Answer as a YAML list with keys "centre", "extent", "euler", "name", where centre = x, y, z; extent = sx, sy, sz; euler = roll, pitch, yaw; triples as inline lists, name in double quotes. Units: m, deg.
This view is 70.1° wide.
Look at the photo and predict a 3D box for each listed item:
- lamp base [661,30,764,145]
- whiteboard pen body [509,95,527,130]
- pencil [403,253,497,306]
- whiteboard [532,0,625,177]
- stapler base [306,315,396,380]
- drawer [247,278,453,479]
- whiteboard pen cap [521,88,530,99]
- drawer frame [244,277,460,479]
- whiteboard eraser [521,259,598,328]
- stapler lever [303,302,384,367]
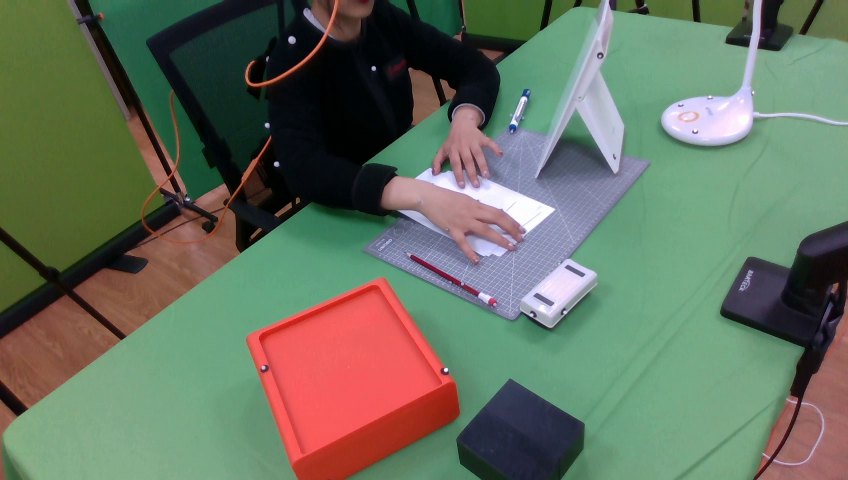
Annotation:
- centre: [0.535, -0.287, 1.096]
  extent: [0.179, 0.181, 0.159]
  euler: [-10, 40, -4]
  name: "lamp base"
- centre: [0.199, -0.273, 1.262]
  extent: [0.017, 0.017, 0.140]
  euler: [8, 44, 19]
  name: "whiteboard pen body"
- centre: [0.034, 0.056, 0.914]
  extent: [0.192, 0.012, 0.012]
  euler: [27, 52, 38]
  name: "pencil"
- centre: [0.321, -0.258, 1.050]
  extent: [0.144, 0.306, 0.217]
  euler: [21, 45, 5]
  name: "whiteboard"
- centre: [-0.101, 0.139, 0.819]
  extent: [0.131, 0.024, 0.041]
  euler: [-31, 37, -13]
  name: "stapler base"
- centre: [-0.096, 0.167, 0.758]
  extent: [0.195, 0.073, 0.210]
  euler: [-22, 43, -16]
  name: "drawer"
- centre: [0.218, -0.312, 1.301]
  extent: [0.018, 0.018, 0.033]
  euler: [6, 46, 17]
  name: "whiteboard pen cap"
- centre: [-0.093, 0.167, 0.755]
  extent: [0.202, 0.083, 0.211]
  euler: [-23, 43, -17]
  name: "drawer frame"
- centre: [0.189, 0.076, 0.843]
  extent: [0.055, 0.042, 0.113]
  euler: [29, 53, 37]
  name: "whiteboard eraser"
- centre: [-0.108, 0.123, 0.805]
  extent: [0.118, 0.040, 0.026]
  euler: [-27, 36, -15]
  name: "stapler lever"
